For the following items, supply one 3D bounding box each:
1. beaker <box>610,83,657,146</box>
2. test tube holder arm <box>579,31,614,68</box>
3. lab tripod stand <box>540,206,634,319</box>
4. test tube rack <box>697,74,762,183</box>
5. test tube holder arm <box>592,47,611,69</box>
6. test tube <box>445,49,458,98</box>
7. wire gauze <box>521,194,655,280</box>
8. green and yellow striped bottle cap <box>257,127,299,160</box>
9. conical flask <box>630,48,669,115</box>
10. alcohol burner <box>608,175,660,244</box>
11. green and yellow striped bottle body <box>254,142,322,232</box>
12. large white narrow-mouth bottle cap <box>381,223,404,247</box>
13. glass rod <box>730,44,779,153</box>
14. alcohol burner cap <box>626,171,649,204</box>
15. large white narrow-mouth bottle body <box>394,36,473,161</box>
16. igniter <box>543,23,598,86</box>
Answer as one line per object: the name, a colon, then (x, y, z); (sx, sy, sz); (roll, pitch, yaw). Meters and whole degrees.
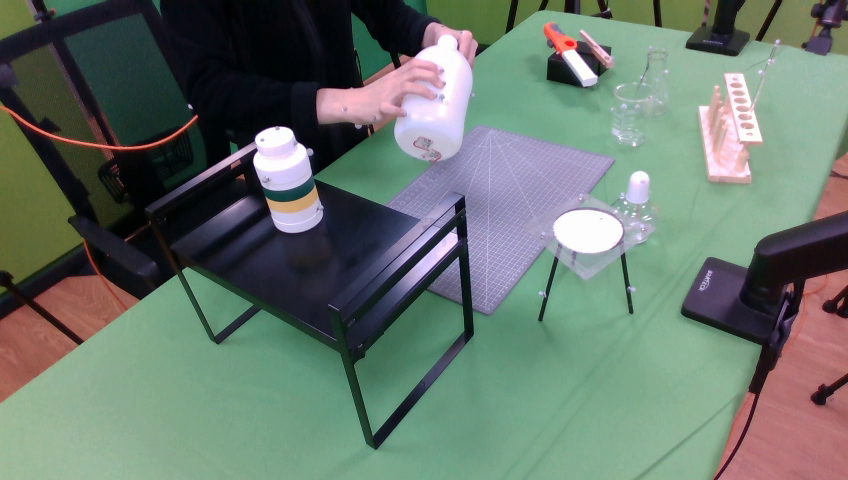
beaker: (0.388, -0.235, 1.138); (0.074, 0.101, 0.083); (-31, 45, -25)
test tube holder arm: (0.384, -0.428, 1.351); (0.013, 0.015, 0.177); (-11, 41, -3)
lab tripod stand: (0.217, 0.034, 0.821); (0.148, 0.132, 0.147); (-4, 42, 4)
test tube rack: (0.547, -0.208, 1.095); (0.066, 0.085, 0.242); (5, 42, 15)
test tube holder arm: (0.386, -0.398, 1.317); (0.010, 0.015, 0.087); (-10, 41, -2)
test tube: (0.048, -0.281, 1.032); (0.017, 0.150, 0.017); (-1, 77, 6)
wire gauze: (0.207, -0.012, 0.772); (0.122, 0.011, 0.124); (-28, 44, -20)
green and yellow striped bottle cap: (-0.169, -0.112, 0.698); (0.045, 0.020, 0.045); (-5, 40, 5)
conical flask: (0.456, -0.317, 1.205); (0.075, 0.122, 0.075); (-4, 41, 4)
alcohol burner: (0.322, -0.053, 0.924); (0.078, 0.119, 0.077); (-4, 43, 4)
green and yellow striped bottle body: (-0.165, -0.073, 0.732); (0.063, 0.120, 0.063); (-4, 41, 4)
large white narrow-mouth bottle cap: (-0.052, -0.009, 0.992); (0.038, 0.024, 0.037); (-5, 39, 4)
glass rod: (0.555, -0.234, 1.021); (0.008, 0.200, 0.008); (2, 40, -1)
alcohol burner cap: (0.320, -0.081, 0.900); (0.034, 0.048, 0.033); (-4, 42, 4)
large white narrow-mouth bottle body: (0.020, -0.220, 0.891); (0.101, 0.102, 0.194); (5, 63, 13)
igniter: (0.320, -0.419, 1.345); (0.057, 0.025, 0.274); (-12, 44, -3)
